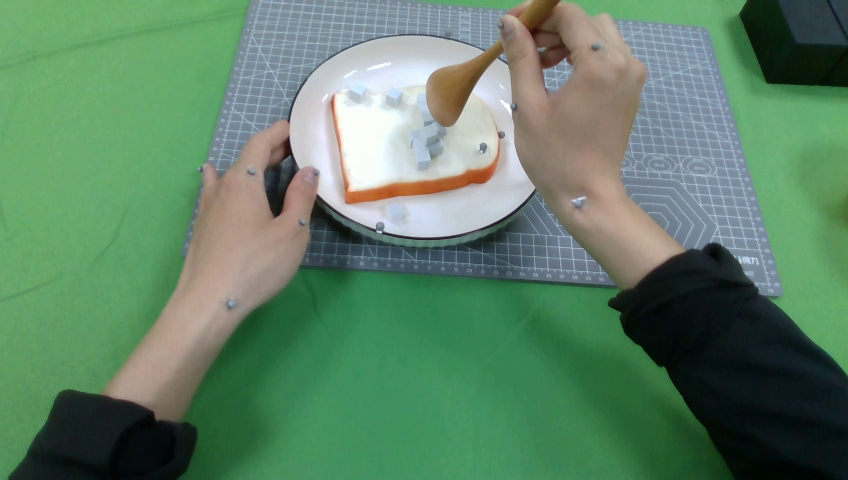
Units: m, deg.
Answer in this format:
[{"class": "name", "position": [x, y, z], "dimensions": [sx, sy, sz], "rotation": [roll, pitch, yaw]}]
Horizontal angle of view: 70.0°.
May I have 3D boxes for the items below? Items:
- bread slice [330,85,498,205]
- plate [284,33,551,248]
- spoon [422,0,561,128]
[{"class": "bread slice", "position": [-0.007, -0.084, 0.490], "dimensions": [0.132, 0.019, 0.104], "rotation": [-10, 61, -9]}, {"class": "plate", "position": [-0.005, -0.080, 0.485], "dimensions": [0.209, 0.038, 0.207], "rotation": [2, 60, -4]}, {"class": "spoon", "position": [0.046, -0.125, 0.389], "dimensions": [0.022, 0.193, 0.041], "rotation": [-21, 84, -35]}]
